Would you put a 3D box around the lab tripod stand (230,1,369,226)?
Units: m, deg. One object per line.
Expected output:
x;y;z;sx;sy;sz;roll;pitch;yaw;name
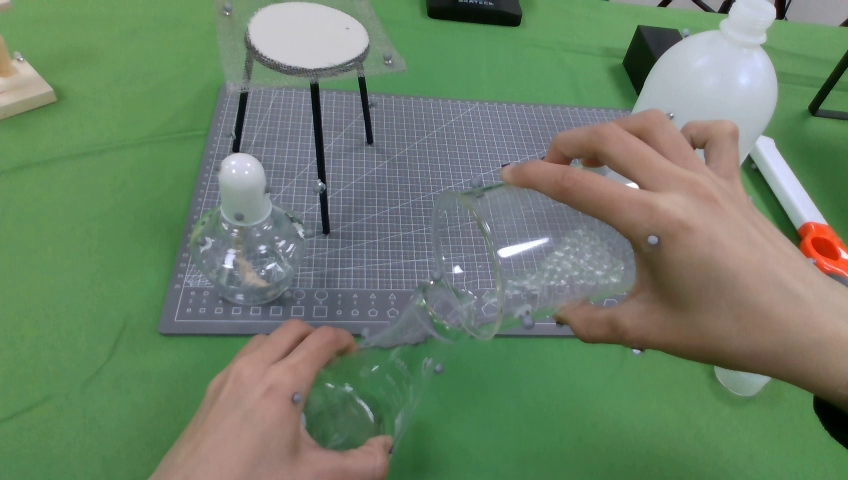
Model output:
-0.093;-0.106;0.487;0.149;0.132;0.147;6;49;-7;lab tripod stand

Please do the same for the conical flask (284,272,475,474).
-0.021;0.072;0.344;0.076;0.122;0.074;30;30;-19;conical flask

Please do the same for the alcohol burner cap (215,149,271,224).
-0.116;-0.036;0.385;0.034;0.048;0.033;4;54;-6;alcohol burner cap

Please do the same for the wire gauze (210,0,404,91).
-0.088;-0.152;0.438;0.122;0.011;0.123;-9;53;-18;wire gauze

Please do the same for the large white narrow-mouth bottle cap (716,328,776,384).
0.241;0.087;0.454;0.038;0.024;0.037;5;48;-5;large white narrow-mouth bottle cap

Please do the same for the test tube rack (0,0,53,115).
-0.444;-0.122;0.475;0.242;0.086;0.066;-34;61;-33;test tube rack

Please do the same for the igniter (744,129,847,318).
0.357;-0.009;0.554;0.057;0.025;0.273;10;47;-15;igniter

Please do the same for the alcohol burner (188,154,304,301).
-0.121;-0.013;0.413;0.078;0.120;0.077;6;47;-6;alcohol burner

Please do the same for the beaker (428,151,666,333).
0.062;-0.001;0.307;0.100;0.084;0.073;-15;58;-18;beaker

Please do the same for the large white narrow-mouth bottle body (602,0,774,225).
0.225;-0.109;0.503;0.102;0.196;0.101;4;48;-4;large white narrow-mouth bottle body
